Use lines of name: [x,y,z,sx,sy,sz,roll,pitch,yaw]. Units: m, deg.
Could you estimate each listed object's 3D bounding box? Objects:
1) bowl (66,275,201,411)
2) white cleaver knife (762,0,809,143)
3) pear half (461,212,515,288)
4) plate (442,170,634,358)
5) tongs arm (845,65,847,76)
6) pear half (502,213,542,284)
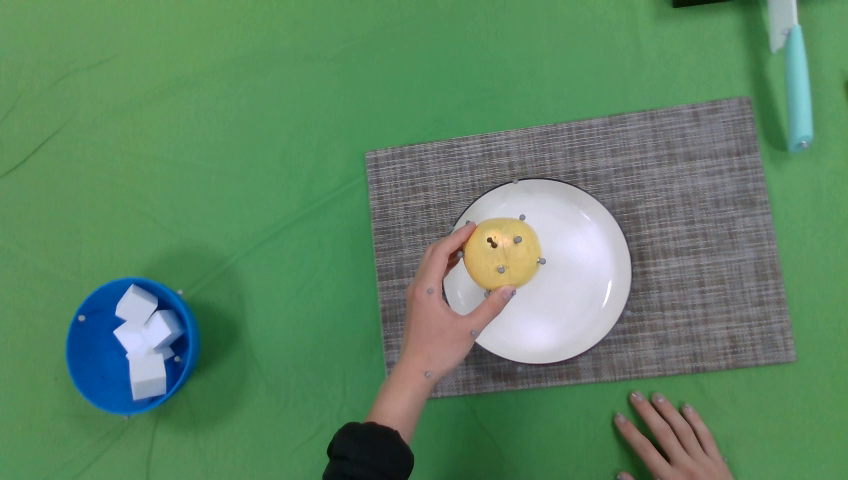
bowl: [-0.320,0.117,0.703,0.151,0.077,0.151,-1,83,6]
white cleaver knife: [0.391,-0.250,0.664,0.021,0.066,0.286,-6,93,10]
pear half: [0.061,0.007,0.590,0.056,0.110,0.076,-8,72,14]
plate: [0.125,0.026,0.679,0.207,0.039,0.207,-1,84,7]
tongs arm: [0.525,-0.014,0.646,0.028,0.028,0.386,-15,82,3]
pear half: [0.098,0.006,0.590,0.031,0.088,0.070,-9,73,15]
